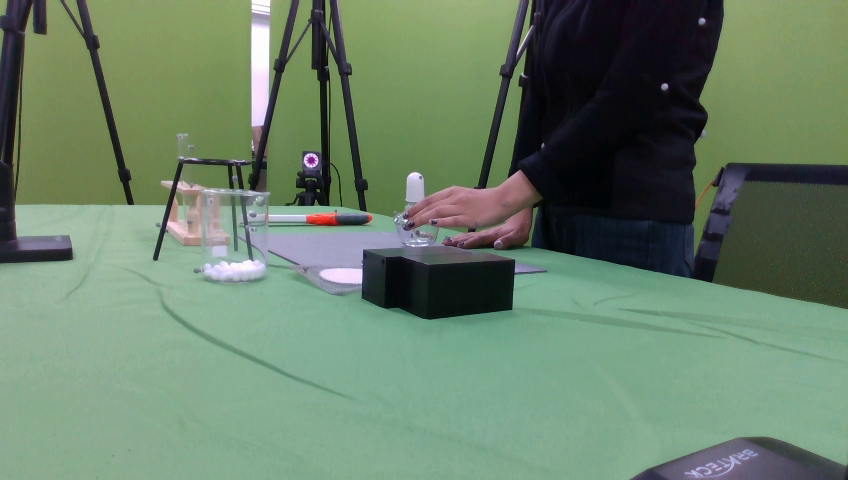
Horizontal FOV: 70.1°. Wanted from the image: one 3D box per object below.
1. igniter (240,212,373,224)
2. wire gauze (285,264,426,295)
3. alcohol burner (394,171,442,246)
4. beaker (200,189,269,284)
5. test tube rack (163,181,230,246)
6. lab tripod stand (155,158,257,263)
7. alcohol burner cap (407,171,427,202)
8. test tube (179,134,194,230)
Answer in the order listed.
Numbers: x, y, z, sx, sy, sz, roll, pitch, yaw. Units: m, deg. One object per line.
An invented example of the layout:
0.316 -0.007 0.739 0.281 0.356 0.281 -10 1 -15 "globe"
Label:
-0.237 -0.045 1.250 0.278 0.025 0.057 -2 -2 -31 "igniter"
-0.079 0.039 0.692 0.122 0.011 0.124 -4 11 -37 "wire gauze"
-0.011 -0.051 0.969 0.078 0.119 0.078 -6 11 1 "alcohol burner"
-0.209 -0.006 0.676 0.073 0.100 0.084 7 8 28 "beaker"
-0.387 -0.050 1.015 0.067 0.085 0.241 -2 9 -30 "test tube rack"
-0.275 -0.041 0.797 0.148 0.131 0.148 2 9 0 "lab tripod stand"
-0.012 -0.086 0.962 0.034 0.048 0.034 0 17 0 "alcohol burner cap"
-0.366 -0.089 0.938 0.017 0.150 0.017 -1 9 1 "test tube"
